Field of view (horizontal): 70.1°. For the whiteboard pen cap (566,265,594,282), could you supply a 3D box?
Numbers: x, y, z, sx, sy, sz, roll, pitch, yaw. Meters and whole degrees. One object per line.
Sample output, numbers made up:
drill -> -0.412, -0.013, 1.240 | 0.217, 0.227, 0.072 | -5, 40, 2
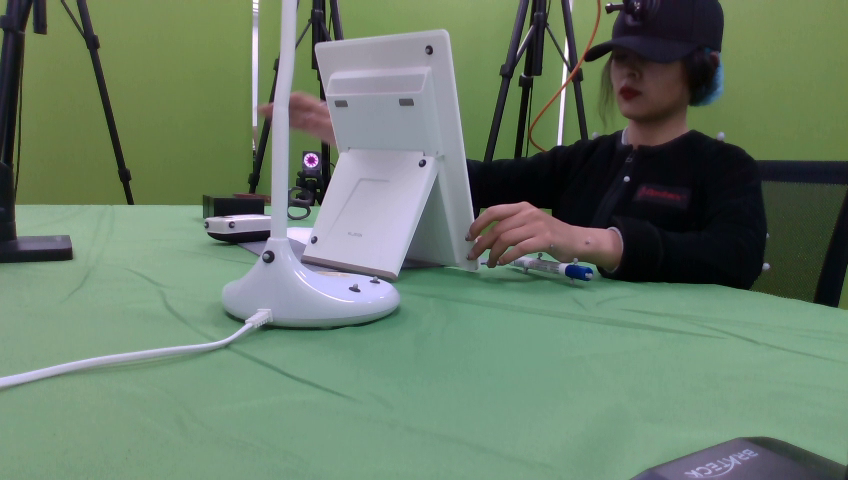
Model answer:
whiteboard pen cap -> 0.185, 0.040, 0.722 | 0.018, 0.018, 0.033 | -2, 6, -33

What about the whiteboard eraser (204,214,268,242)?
whiteboard eraser -> -0.285, -0.019, 0.960 | 0.055, 0.042, 0.113 | 9, 10, 36

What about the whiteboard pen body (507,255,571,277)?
whiteboard pen body -> 0.156, 0.034, 0.773 | 0.017, 0.017, 0.140 | -2, 7, -32

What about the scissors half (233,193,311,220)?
scissors half -> -0.330, -0.078, 1.319 | 0.176, 0.040, 0.013 | 16, 3, -32

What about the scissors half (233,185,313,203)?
scissors half -> -0.326, -0.097, 1.315 | 0.176, 0.040, 0.012 | -5, 19, -29

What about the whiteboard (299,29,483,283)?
whiteboard -> -0.074, -0.082, 0.742 | 0.216, 0.305, 0.144 | 9, 29, 38

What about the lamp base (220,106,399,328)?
lamp base -> -0.101, -0.023, 0.531 | 0.160, 0.180, 0.179 | 4, 10, 10
